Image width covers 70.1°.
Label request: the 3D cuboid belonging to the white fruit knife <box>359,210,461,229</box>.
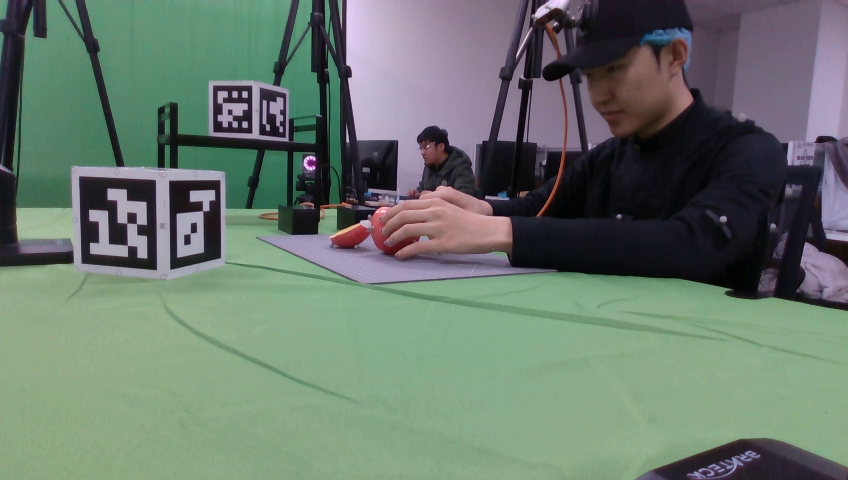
[{"bbox_3d":[-0.018,-0.032,0.967,0.208,0.027,0.016,-6,6,-41],"label":"white fruit knife"}]

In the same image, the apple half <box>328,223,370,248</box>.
[{"bbox_3d":[-0.111,-0.006,0.970,0.081,0.033,0.081,-16,11,3],"label":"apple half"}]

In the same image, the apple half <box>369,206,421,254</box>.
[{"bbox_3d":[-0.037,-0.014,0.919,0.081,0.074,0.053,3,9,-43],"label":"apple half"}]
